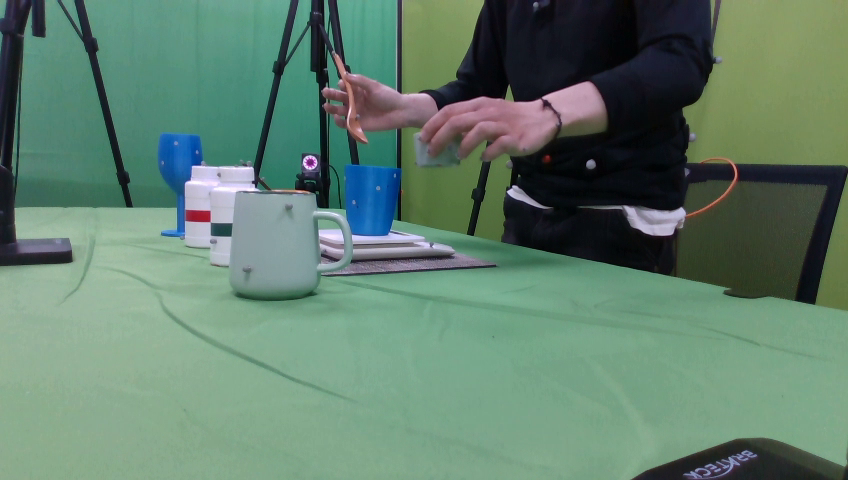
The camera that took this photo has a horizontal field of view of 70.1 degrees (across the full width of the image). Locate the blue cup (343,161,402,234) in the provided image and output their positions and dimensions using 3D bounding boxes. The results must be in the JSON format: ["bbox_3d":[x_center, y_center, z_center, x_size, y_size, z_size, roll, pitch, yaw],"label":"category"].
[{"bbox_3d":[-0.078,-0.062,0.884,0.093,0.100,0.092,4,6,0],"label":"blue cup"}]

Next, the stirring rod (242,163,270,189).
[{"bbox_3d":[-0.298,-0.091,1.198,0.014,0.006,0.177,11,-31,45],"label":"stirring rod"}]

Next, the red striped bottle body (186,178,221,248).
[{"bbox_3d":[-0.331,-0.050,0.927,0.063,0.119,0.063,2,6,0],"label":"red striped bottle body"}]

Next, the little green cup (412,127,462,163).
[{"bbox_3d":[0.017,-0.115,0.734,0.061,0.038,0.061,-4,3,1],"label":"little green cup"}]

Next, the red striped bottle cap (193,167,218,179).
[{"bbox_3d":[-0.329,-0.103,0.921,0.044,0.017,0.044,0,9,0],"label":"red striped bottle cap"}]

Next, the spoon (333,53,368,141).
[{"bbox_3d":[-0.125,-0.241,1.006,0.021,0.193,0.042,-28,-28,27],"label":"spoon"}]

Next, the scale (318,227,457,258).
[{"bbox_3d":[-0.066,0.001,0.906,0.202,0.031,0.148,-2,8,-31],"label":"scale"}]

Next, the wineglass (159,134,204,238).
[{"bbox_3d":[-0.415,-0.093,1.039,0.074,0.172,0.073,2,8,0],"label":"wineglass"}]

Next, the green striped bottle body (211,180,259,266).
[{"bbox_3d":[-0.243,-0.029,0.784,0.063,0.119,0.063,2,7,0],"label":"green striped bottle body"}]

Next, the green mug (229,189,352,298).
[{"bbox_3d":[-0.135,0.002,0.618,0.125,0.105,0.092,2,7,4],"label":"green mug"}]

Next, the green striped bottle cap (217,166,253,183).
[{"bbox_3d":[-0.242,-0.085,0.777,0.044,0.020,0.044,2,9,0],"label":"green striped bottle cap"}]
